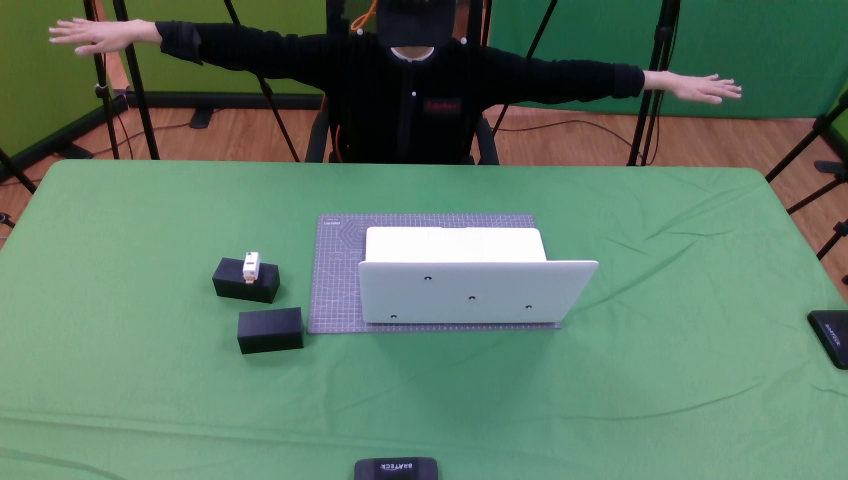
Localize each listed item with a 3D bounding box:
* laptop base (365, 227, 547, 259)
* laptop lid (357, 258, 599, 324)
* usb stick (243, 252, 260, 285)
[{"bbox_3d":[0.064,0.062,1.144,0.355,0.023,0.234,0,43,-4],"label":"laptop base"},{"bbox_3d":[0.075,0.087,0.960,0.357,0.242,0.013,1,60,-5],"label":"laptop lid"},{"bbox_3d":[-0.301,0.051,1.055,0.021,0.027,0.059,1,48,-6],"label":"usb stick"}]
